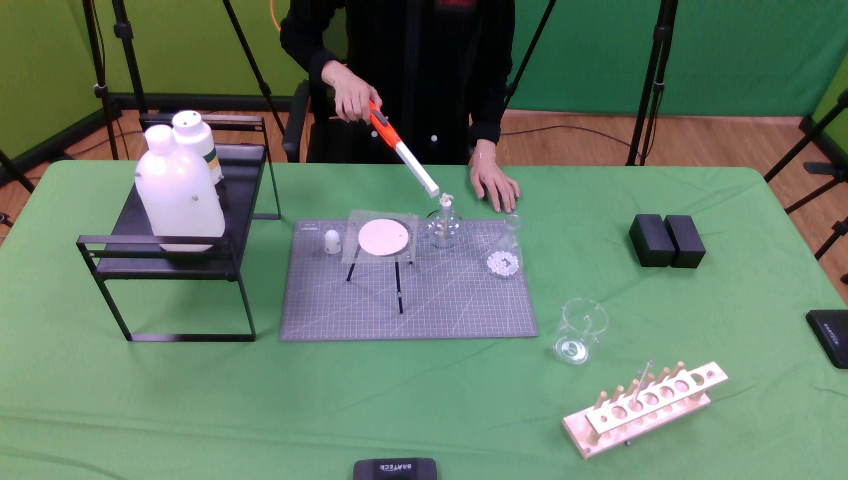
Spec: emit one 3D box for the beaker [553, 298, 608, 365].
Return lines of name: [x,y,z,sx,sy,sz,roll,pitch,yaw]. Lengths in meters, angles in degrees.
beaker: [0.260,0.154,1.015,0.073,0.101,0.084,37,54,27]

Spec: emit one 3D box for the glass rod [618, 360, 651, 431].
glass rod: [0.298,0.227,0.865,0.008,0.201,0.008,-1,48,2]

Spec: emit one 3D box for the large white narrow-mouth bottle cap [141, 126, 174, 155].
large white narrow-mouth bottle cap: [-0.356,-0.133,0.811,0.038,0.024,0.037,2,48,-2]

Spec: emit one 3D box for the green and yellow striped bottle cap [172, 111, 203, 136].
green and yellow striped bottle cap: [-0.374,-0.185,0.958,0.045,0.020,0.045,4,46,-4]

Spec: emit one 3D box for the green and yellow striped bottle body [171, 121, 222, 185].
green and yellow striped bottle body: [-0.375,-0.149,0.995,0.063,0.120,0.063,2,46,-2]

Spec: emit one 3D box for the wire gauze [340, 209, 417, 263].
wire gauze: [-0.074,-0.007,1.023,0.121,0.011,0.124,3,46,0]

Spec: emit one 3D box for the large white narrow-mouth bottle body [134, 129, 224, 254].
large white narrow-mouth bottle body: [-0.358,-0.075,0.875,0.102,0.195,0.101,1,48,-1]

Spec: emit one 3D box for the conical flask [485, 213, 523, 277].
conical flask: [0.157,0.007,1.129,0.075,0.122,0.075,2,46,-2]

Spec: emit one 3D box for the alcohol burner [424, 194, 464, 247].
alcohol burner: [0.039,-0.043,1.175,0.078,0.120,0.077,1,48,-1]

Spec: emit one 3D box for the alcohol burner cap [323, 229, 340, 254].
alcohol burner cap: [-0.179,0.001,1.165,0.034,0.048,0.033,2,45,-2]

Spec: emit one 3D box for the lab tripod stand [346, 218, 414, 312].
lab tripod stand: [-0.070,0.037,1.075,0.148,0.132,0.147,1,48,-1]

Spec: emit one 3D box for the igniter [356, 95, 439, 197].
igniter: [-0.057,-0.192,1.193,0.025,0.057,0.275,-32,69,-14]

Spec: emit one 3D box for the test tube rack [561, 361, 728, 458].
test tube rack: [0.341,0.248,0.940,0.243,0.085,0.066,-15,49,-18]
